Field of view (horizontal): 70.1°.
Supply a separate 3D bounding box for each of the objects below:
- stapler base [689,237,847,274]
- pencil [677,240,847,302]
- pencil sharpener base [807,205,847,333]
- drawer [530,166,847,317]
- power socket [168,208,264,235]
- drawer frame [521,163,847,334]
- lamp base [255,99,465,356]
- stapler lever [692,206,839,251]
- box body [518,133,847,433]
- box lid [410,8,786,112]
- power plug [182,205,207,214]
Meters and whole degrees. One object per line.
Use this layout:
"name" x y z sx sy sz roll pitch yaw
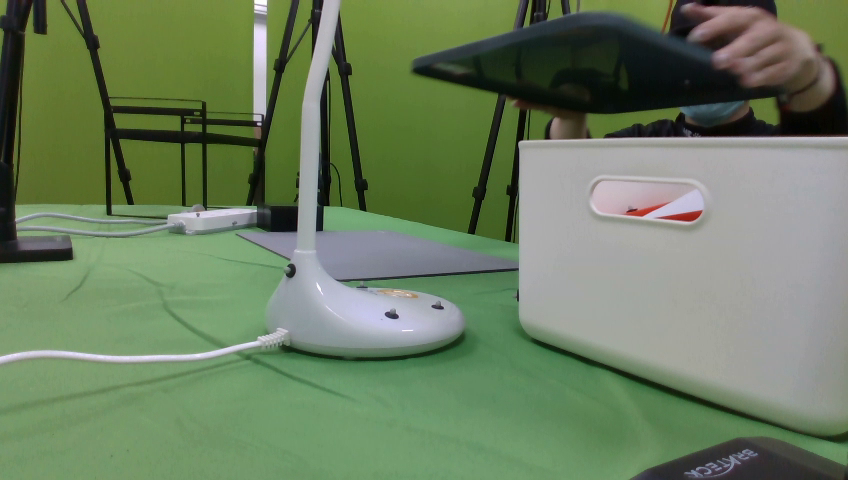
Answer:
"stapler base" 0.270 0.012 0.487 0.041 0.024 0.130 -15 3 -19
"pencil" 0.248 0.017 0.464 0.012 0.012 0.193 1 10 -9
"pencil sharpener base" 0.385 0.027 0.519 0.062 0.107 0.076 -5 11 -43
"drawer" 0.225 0.002 0.468 0.213 0.073 0.193 -13 2 -36
"power socket" -0.381 -0.038 1.129 0.072 0.032 0.227 4 8 17
"drawer frame" 0.224 0.003 0.465 0.215 0.082 0.200 -14 2 -36
"lamp base" -0.051 -0.014 0.466 0.160 0.180 0.180 7 11 33
"stapler lever" 0.266 -0.011 0.485 0.027 0.040 0.117 -15 2 -19
"box body" 0.278 0.005 0.485 0.366 0.160 0.253 -3 9 -36
"box lid" 0.198 -0.181 0.669 0.374 0.015 0.262 0 4 -39
"power plug" -0.456 -0.041 1.195 0.052 0.035 0.072 0 39 24
